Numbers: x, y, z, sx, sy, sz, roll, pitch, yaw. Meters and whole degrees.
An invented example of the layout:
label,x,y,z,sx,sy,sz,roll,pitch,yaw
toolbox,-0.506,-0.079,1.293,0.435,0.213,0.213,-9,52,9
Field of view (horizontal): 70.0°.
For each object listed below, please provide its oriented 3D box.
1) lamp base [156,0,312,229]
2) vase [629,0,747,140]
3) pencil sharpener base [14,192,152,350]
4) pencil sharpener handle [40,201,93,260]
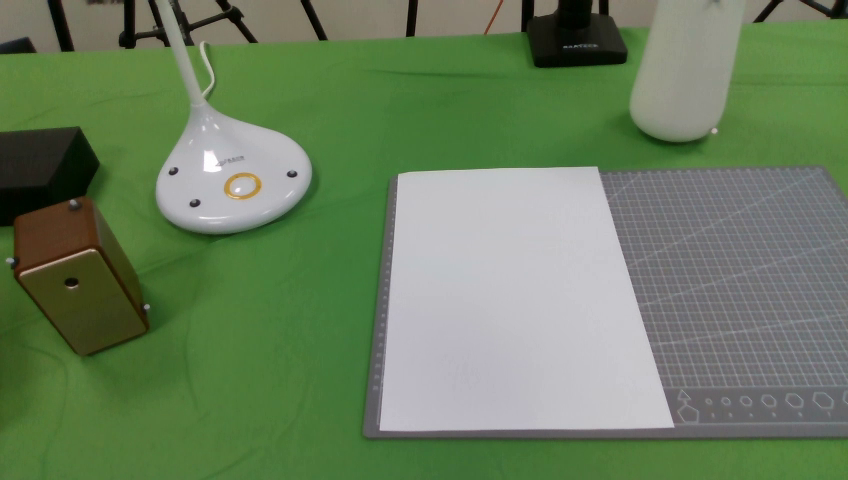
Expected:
label,x,y,z,sx,sy,sz,roll,pitch,yaw
lamp base,-0.212,-0.129,0.593,0.161,0.182,0.177,-30,49,-23
vase,0.273,-0.203,0.619,0.098,0.202,0.097,-3,44,3
pencil sharpener base,-0.278,0.026,0.497,0.061,0.108,0.076,-22,48,-16
pencil sharpener handle,-0.303,-0.014,0.520,0.036,0.068,0.030,-18,47,-20
